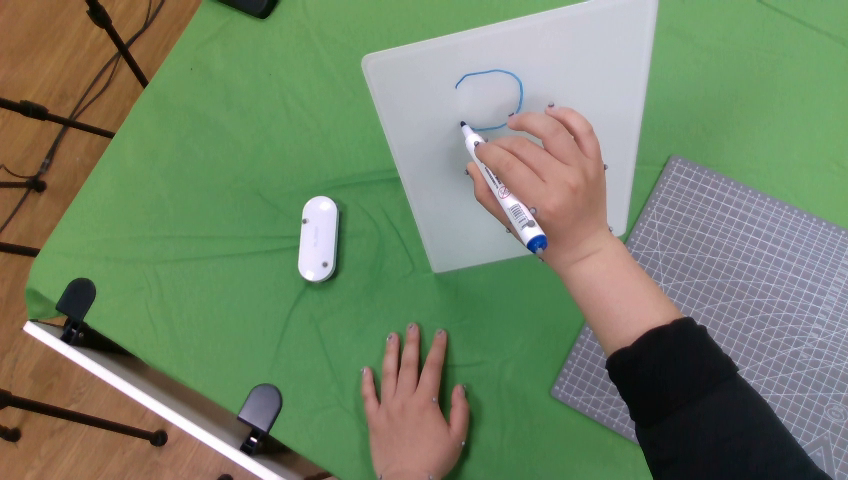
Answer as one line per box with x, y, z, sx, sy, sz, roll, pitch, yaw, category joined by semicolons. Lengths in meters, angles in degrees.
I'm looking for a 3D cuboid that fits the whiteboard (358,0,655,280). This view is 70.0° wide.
0.079;-0.119;0.588;0.217;0.308;0.142;-12;54;5;whiteboard

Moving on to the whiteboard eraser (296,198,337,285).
-0.124;0.001;0.698;0.041;0.019;0.101;1;76;6;whiteboard eraser

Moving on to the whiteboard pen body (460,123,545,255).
0.054;-0.044;0.457;0.017;0.017;0.139;-26;55;1;whiteboard pen body
